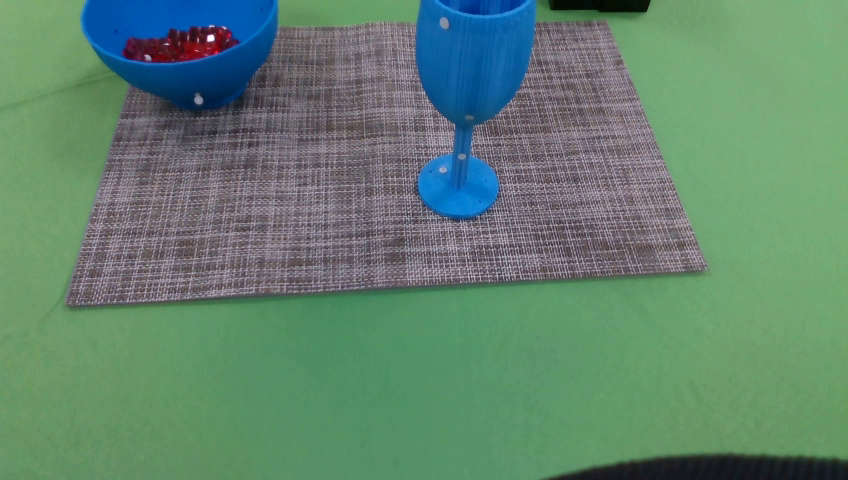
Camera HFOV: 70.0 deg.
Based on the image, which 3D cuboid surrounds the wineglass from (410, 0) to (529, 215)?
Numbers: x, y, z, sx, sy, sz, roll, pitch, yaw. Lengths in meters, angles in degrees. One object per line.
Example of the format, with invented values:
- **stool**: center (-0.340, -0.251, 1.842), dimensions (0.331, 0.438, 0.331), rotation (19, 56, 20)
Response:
- **wineglass**: center (0.025, -0.095, 0.407), dimensions (0.074, 0.173, 0.073), rotation (1, 55, -1)

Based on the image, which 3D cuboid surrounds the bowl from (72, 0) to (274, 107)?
- **bowl**: center (-0.196, -0.166, 0.504), dimensions (0.151, 0.077, 0.150), rotation (1, 55, -2)
